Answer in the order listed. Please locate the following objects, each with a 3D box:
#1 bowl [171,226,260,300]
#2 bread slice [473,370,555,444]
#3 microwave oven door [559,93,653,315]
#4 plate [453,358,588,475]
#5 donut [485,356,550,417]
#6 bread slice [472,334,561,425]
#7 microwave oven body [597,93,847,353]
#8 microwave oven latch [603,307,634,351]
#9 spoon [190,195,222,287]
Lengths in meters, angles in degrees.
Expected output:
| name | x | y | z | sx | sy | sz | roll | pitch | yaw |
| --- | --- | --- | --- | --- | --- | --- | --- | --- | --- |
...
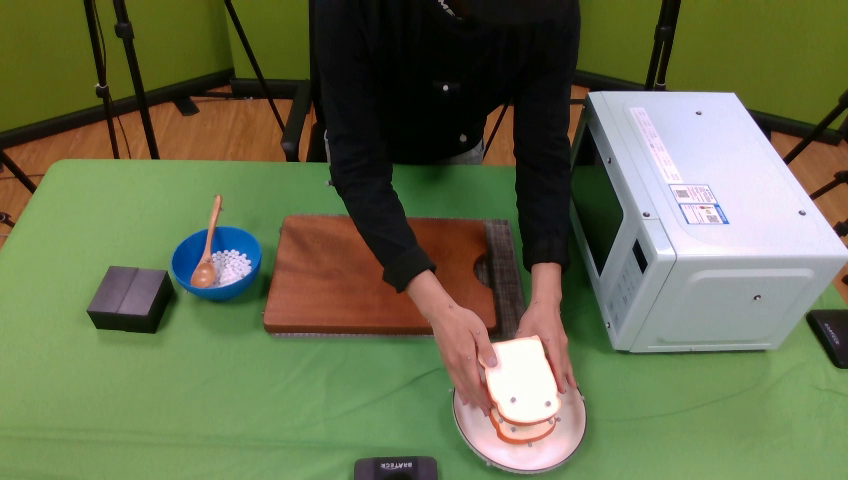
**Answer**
| name | x | y | z | sx | sy | sz | roll | pitch | yaw |
| --- | --- | --- | --- | --- | --- | --- | --- | --- | --- |
| bowl | -0.364 | 0.054 | 1.080 | 0.151 | 0.077 | 0.150 | 3 | 45 | -2 |
| bread slice | 0.144 | 0.246 | 0.930 | 0.105 | 0.019 | 0.130 | -11 | 47 | -9 |
| microwave oven door | 0.327 | -0.074 | 1.123 | 0.039 | 0.245 | 0.353 | -1 | 46 | -5 |
| plate | 0.147 | 0.267 | 0.943 | 0.208 | 0.039 | 0.206 | 2 | 46 | -2 |
| donut | 0.141 | 0.220 | 0.913 | 0.099 | 0.048 | 0.098 | 5 | 47 | -5 |
| bread slice | 0.141 | 0.204 | 0.888 | 0.107 | 0.018 | 0.133 | -10 | 52 | -13 |
| microwave oven body | 0.475 | -0.041 | 1.109 | 0.326 | 0.261 | 0.438 | -1 | 45 | -4 |
| microwave oven latch | 0.332 | 0.153 | 1.044 | 0.030 | 0.029 | 0.078 | 0 | 45 | -3 |
| spoon | -0.383 | 0.000 | 1.088 | 0.041 | 0.022 | 0.193 | 1 | 66 | 3 |
